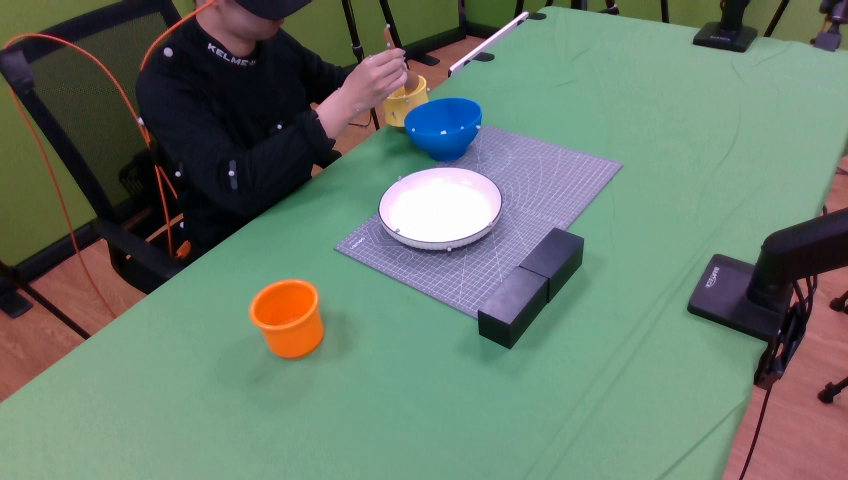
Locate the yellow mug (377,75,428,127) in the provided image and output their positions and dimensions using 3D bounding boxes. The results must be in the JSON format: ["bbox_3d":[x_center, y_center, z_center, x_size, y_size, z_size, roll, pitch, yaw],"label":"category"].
[{"bbox_3d":[-0.045,-0.293,1.242,0.100,0.064,0.130,-21,40,-8],"label":"yellow mug"}]

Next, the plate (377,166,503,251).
[{"bbox_3d":[0.027,-0.050,1.007,0.209,0.038,0.208,-4,41,4],"label":"plate"}]

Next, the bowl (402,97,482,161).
[{"bbox_3d":[0.040,-0.203,1.154,0.151,0.077,0.150,-7,38,6],"label":"bowl"}]

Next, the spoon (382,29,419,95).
[{"bbox_3d":[-0.046,-0.326,1.121,0.021,0.195,0.041,39,86,27],"label":"spoon"}]
